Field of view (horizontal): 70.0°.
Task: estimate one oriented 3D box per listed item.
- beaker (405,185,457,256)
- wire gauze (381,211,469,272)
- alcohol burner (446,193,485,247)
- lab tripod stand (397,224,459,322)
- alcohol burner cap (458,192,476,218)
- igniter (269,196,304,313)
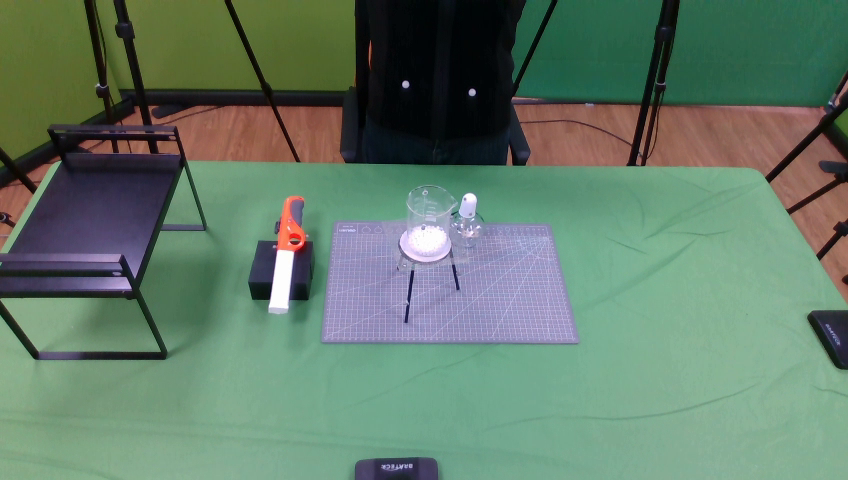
[{"bbox_3d":[0.009,-0.029,0.987,0.084,0.101,0.073,-1,48,-5],"label":"beaker"},{"bbox_3d":[0.000,0.001,1.024,0.125,0.011,0.120,-11,48,-12],"label":"wire gauze"},{"bbox_3d":[0.082,-0.044,1.179,0.078,0.120,0.077,2,45,-2],"label":"alcohol burner"},{"bbox_3d":[-0.003,0.052,1.067,0.148,0.132,0.147,3,48,-3],"label":"lab tripod stand"},{"bbox_3d":[0.085,-0.068,1.153,0.034,0.048,0.033,4,44,-4],"label":"alcohol burner cap"},{"bbox_3d":[-0.249,0.016,1.095,0.057,0.025,0.274,8,46,-13],"label":"igniter"}]
